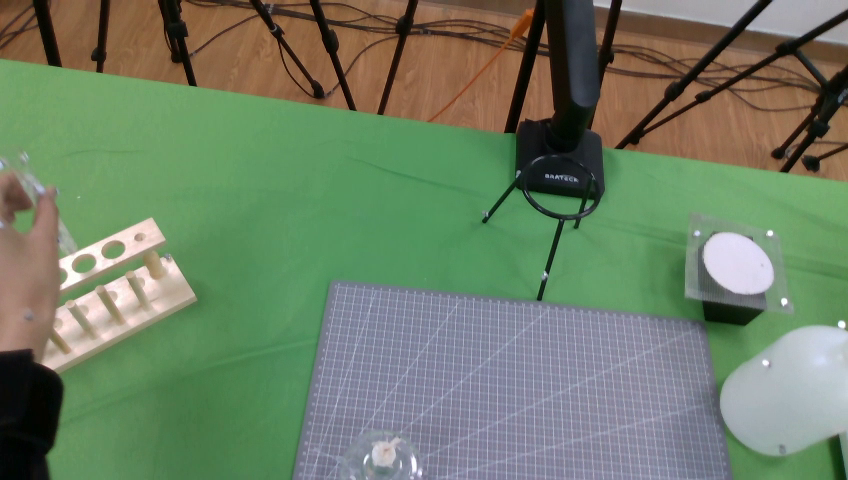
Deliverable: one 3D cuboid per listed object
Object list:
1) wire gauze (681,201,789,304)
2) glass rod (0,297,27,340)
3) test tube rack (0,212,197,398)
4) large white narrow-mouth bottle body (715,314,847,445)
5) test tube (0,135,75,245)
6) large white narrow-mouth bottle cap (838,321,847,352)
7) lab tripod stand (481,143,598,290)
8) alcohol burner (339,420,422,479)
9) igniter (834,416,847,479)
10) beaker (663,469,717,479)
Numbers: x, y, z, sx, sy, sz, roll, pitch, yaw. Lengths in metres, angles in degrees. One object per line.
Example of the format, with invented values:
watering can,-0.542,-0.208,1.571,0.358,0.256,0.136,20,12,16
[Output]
wire gauze,0.367,0.014,0.723,0.121,0.011,0.124,13,57,2
glass rod,-0.402,0.037,0.553,0.008,0.201,0.008,5,49,-6
test tube rack,-0.368,0.072,0.614,0.242,0.086,0.066,-30,66,-22
large white narrow-mouth bottle body,0.378,0.131,0.600,0.102,0.196,0.101,3,58,-4
test tube,-0.326,-0.036,0.515,0.017,0.151,0.017,5,59,-9
large white narrow-mouth bottle cap,0.386,0.084,0.528,0.038,0.024,0.037,3,58,-4
lab tripod stand,0.142,-0.034,0.711,0.148,0.132,0.147,4,59,-6
alcohol burner,-0.039,0.199,0.554,0.078,0.120,0.077,4,57,-6
igniter,0.451,0.272,0.620,0.057,0.025,0.274,18,57,-8
beaker,0.225,0.259,0.556,0.084,0.101,0.073,3,57,-3
